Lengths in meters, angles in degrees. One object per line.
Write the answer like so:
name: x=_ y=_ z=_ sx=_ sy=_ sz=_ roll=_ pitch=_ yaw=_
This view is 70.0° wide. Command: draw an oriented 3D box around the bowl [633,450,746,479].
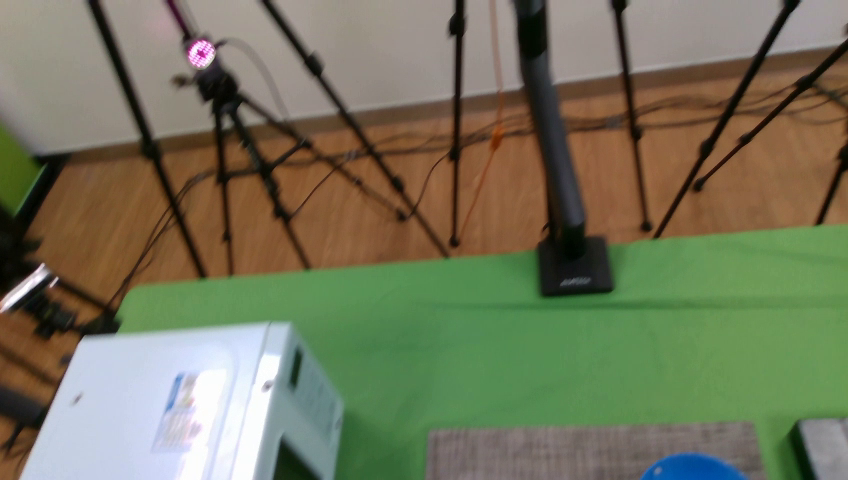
bowl: x=0.321 y=0.339 z=0.727 sx=0.151 sy=0.077 sz=0.150 roll=-7 pitch=50 yaw=9

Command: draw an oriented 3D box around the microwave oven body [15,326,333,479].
microwave oven body: x=-0.315 y=0.366 z=0.749 sx=0.325 sy=0.263 sz=0.437 roll=-6 pitch=51 yaw=9

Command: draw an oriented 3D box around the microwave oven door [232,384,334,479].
microwave oven door: x=-0.174 y=0.379 z=0.695 sx=0.039 sy=0.246 sz=0.352 roll=-7 pitch=50 yaw=10

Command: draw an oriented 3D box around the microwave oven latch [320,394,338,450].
microwave oven latch: x=-0.147 y=0.273 z=0.909 sx=0.030 sy=0.030 sz=0.078 roll=-5 pitch=51 yaw=10
